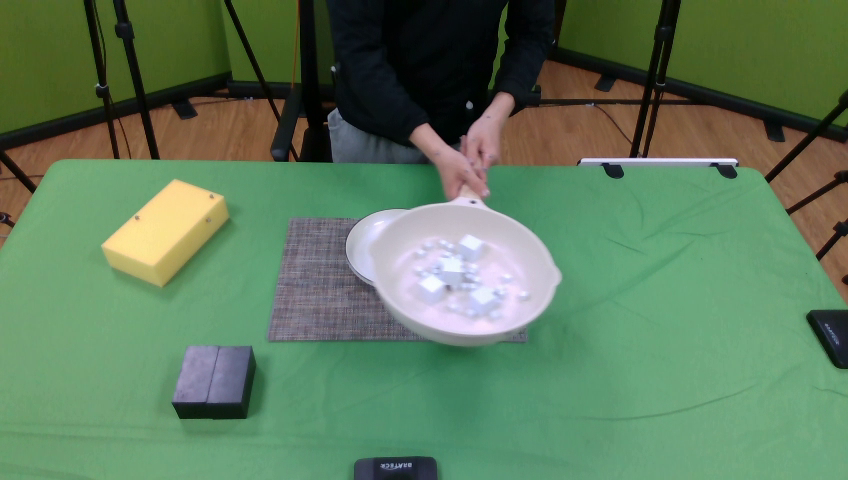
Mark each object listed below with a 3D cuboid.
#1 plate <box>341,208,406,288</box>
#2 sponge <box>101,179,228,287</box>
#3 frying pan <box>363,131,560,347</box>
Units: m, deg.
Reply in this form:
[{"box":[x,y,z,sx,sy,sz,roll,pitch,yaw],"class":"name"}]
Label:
[{"box":[-0.053,0.022,1.156,0.208,0.039,0.206,2,46,-2],"class":"plate"},{"box":[-0.486,-0.018,1.151,0.118,0.061,0.206,19,47,12],"class":"sponge"},{"box":[0.069,-0.024,1.024,0.307,0.103,0.485,10,50,1],"class":"frying pan"}]
